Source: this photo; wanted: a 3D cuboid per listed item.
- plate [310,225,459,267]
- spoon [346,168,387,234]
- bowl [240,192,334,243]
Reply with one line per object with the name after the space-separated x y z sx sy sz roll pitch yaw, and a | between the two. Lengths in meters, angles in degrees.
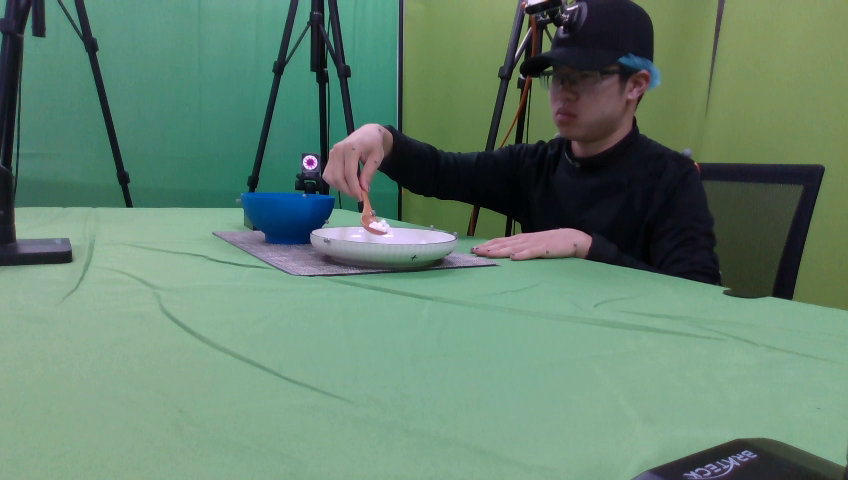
-0.055 0.008 0.851 0.208 0.039 0.207 2 7 0 | plate
-0.092 -0.063 0.919 0.042 0.021 0.193 14 32 -28 | spoon
-0.223 -0.037 0.992 0.151 0.077 0.151 2 7 0 | bowl
